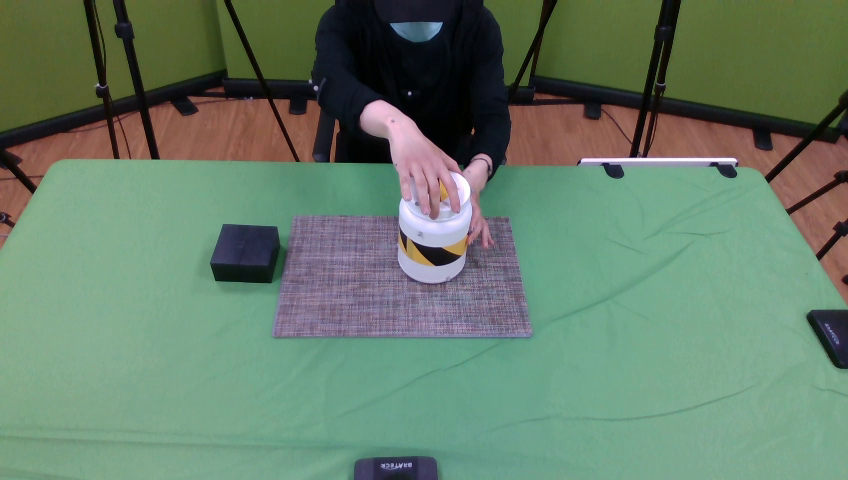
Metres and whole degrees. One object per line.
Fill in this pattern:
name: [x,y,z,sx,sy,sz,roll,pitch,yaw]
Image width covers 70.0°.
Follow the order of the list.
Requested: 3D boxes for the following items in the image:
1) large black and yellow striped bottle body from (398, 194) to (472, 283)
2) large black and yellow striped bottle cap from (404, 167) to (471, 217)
large black and yellow striped bottle body: [0.019,-0.025,1.103,0.131,0.185,0.130,2,46,-2]
large black and yellow striped bottle cap: [0.022,-0.084,1.042,0.115,0.019,0.114,3,46,-3]
